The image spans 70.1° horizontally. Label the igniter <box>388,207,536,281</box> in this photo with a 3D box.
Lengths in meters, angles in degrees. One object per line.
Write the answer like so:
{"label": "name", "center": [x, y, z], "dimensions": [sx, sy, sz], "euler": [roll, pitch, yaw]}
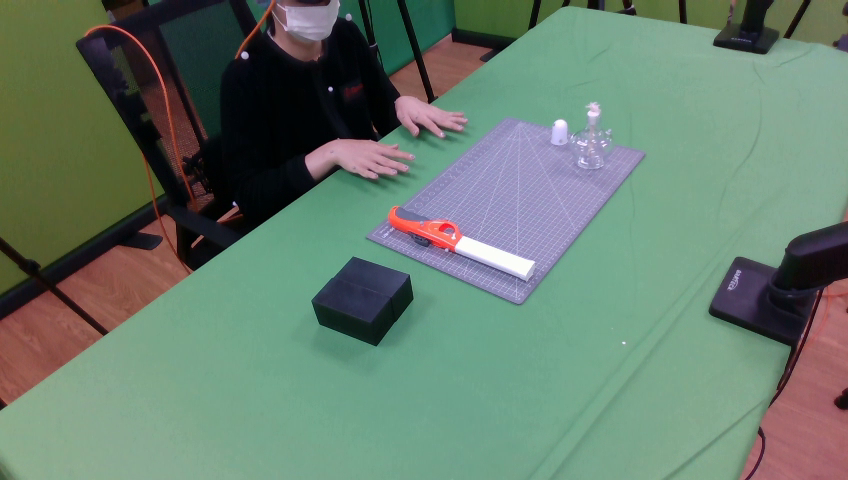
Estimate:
{"label": "igniter", "center": [0.049, 0.001, 0.954], "dimensions": [0.274, 0.025, 0.057], "euler": [22, 59, 31]}

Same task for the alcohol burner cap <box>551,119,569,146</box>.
{"label": "alcohol burner cap", "center": [0.261, -0.207, 1.156], "dimensions": [0.034, 0.048, 0.033], "euler": [-5, 41, 4]}

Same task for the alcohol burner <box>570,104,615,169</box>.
{"label": "alcohol burner", "center": [0.299, -0.186, 1.071], "dimensions": [0.078, 0.119, 0.077], "euler": [-6, 41, 6]}
